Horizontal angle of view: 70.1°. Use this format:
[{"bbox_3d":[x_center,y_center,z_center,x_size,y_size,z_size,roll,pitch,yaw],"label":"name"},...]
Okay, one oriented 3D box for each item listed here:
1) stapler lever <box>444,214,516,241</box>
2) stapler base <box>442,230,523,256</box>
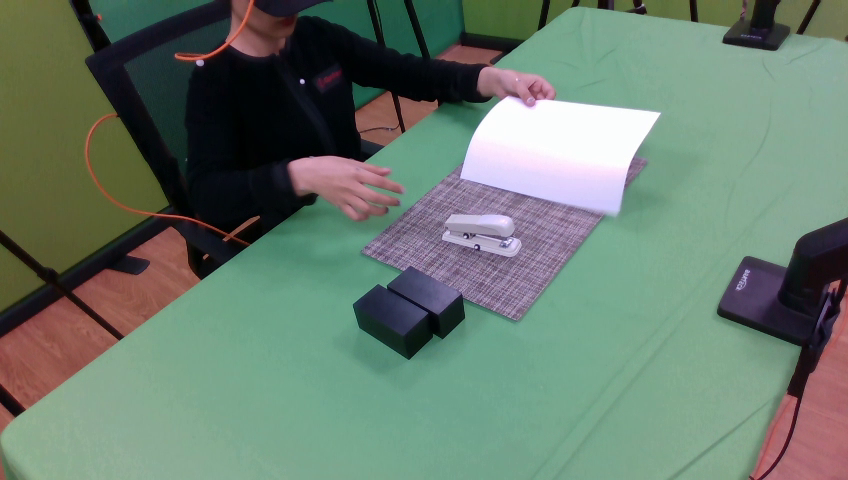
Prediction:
[{"bbox_3d":[0.088,-0.026,0.952,0.117,0.040,0.027,13,42,27],"label":"stapler lever"},{"bbox_3d":[0.093,-0.007,0.967,0.129,0.024,0.041,13,42,27],"label":"stapler base"}]
